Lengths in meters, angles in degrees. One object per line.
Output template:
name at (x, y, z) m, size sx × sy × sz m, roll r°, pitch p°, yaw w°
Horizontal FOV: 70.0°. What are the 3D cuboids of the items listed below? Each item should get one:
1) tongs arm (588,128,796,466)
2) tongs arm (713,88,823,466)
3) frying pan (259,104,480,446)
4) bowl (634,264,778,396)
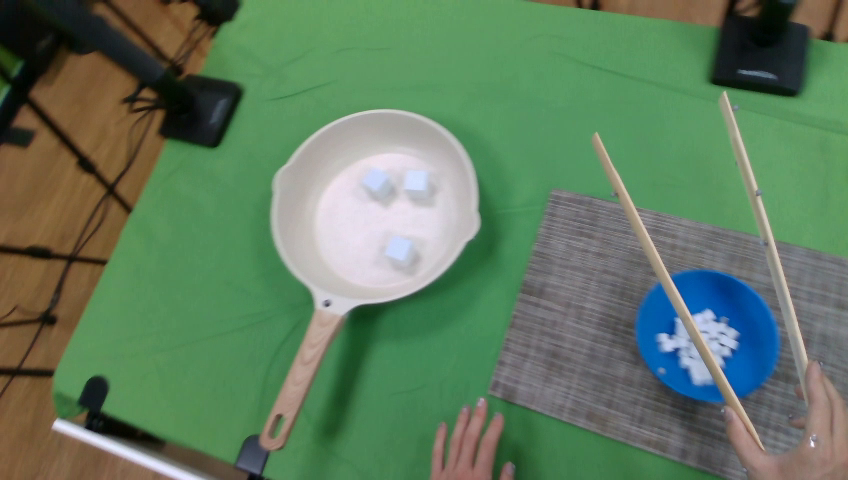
tongs arm at (0.263, 0.050, 0.624) m, size 0.028 × 0.028 × 0.385 m, roll -24°, pitch 77°, yaw -3°
tongs arm at (0.336, 0.027, 0.619) m, size 0.051 × 0.026 × 0.383 m, roll -13°, pitch 78°, yaw 3°
frying pan at (-0.103, 0.038, 0.816) m, size 0.305 × 0.103 × 0.485 m, roll 16°, pitch 66°, yaw 17°
bowl at (0.321, 0.111, 0.713) m, size 0.151 × 0.077 × 0.150 m, roll -4°, pitch 70°, yaw 10°
